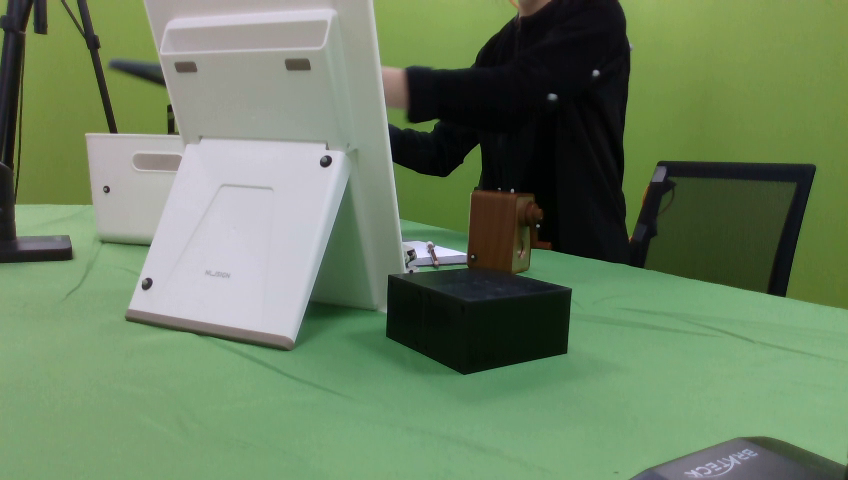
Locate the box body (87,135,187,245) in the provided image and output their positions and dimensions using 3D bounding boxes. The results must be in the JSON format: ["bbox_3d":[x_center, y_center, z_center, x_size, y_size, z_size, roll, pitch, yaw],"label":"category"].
[{"bbox_3d":[-0.338,-0.088,1.022,0.254,0.160,0.364,3,7,9],"label":"box body"}]

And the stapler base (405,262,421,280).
[{"bbox_3d":[-0.069,0.027,0.759,0.130,0.024,0.041,9,13,23],"label":"stapler base"}]

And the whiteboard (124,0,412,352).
[{"bbox_3d":[-0.151,-0.049,0.472,0.216,0.305,0.144,6,27,24],"label":"whiteboard"}]

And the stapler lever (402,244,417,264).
[{"bbox_3d":[-0.066,0.003,0.755,0.117,0.040,0.027,9,13,23],"label":"stapler lever"}]

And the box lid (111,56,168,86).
[{"bbox_3d":[-0.295,-0.239,0.997,0.263,0.015,0.372,8,4,6],"label":"box lid"}]

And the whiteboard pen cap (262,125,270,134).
[{"bbox_3d":[-0.349,-0.244,1.336,0.018,0.018,0.033,0,2,-17],"label":"whiteboard pen cap"}]

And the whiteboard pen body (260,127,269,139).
[{"bbox_3d":[-0.366,-0.247,1.392,0.017,0.017,0.140,0,3,-17],"label":"whiteboard pen body"}]

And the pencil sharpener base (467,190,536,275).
[{"bbox_3d":[0.106,-0.012,0.808,0.076,0.107,0.061,8,8,33],"label":"pencil sharpener base"}]

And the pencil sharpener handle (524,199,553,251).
[{"bbox_3d":[0.151,-0.019,0.782,0.030,0.068,0.036,8,23,33],"label":"pencil sharpener handle"}]

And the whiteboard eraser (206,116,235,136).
[{"bbox_3d":[-0.450,-0.252,1.335,0.056,0.042,0.112,1,7,-22],"label":"whiteboard eraser"}]

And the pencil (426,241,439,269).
[{"bbox_3d":[0.013,0.021,0.885,0.012,0.012,0.194,2,9,-3],"label":"pencil"}]
